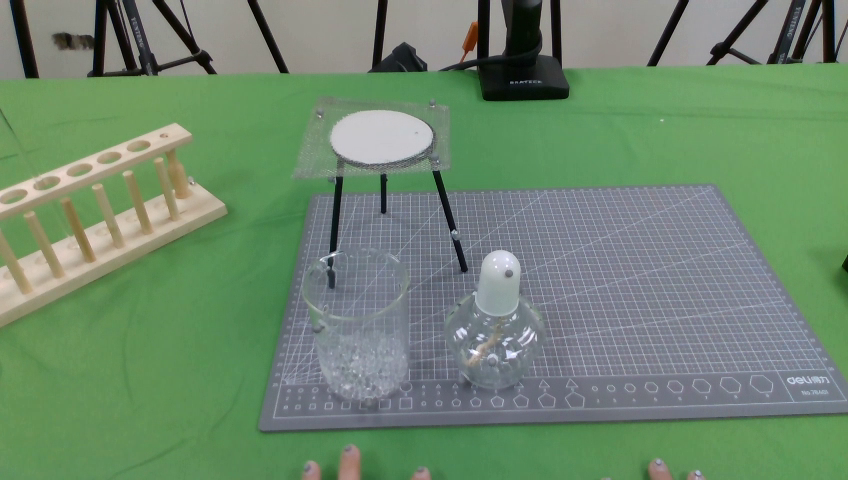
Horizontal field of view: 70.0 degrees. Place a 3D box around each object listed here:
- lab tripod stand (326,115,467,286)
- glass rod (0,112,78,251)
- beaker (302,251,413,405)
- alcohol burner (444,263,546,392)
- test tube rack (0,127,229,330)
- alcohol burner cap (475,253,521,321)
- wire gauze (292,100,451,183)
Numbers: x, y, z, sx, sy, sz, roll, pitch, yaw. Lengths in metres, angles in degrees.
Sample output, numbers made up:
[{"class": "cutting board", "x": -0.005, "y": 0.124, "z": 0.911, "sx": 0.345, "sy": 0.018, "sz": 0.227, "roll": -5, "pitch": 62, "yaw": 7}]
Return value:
[{"class": "lab tripod stand", "x": -0.029, "y": -0.035, "z": 0.547, "sx": 0.148, "sy": 0.132, "sz": 0.147, "roll": 1, "pitch": 39, "yaw": 0}, {"class": "glass rod", "x": -0.352, "y": -0.070, "z": 0.533, "sx": 0.008, "sy": 0.201, "sz": 0.008, "roll": -5, "pitch": 37, "yaw": 4}, {"class": "beaker", "x": -0.048, "y": 0.067, "z": 0.452, "sx": 0.083, "sy": 0.101, "sz": 0.074, "roll": 30, "pitch": 49, "yaw": 33}, {"class": "alcohol burner", "x": 0.053, "y": 0.058, "z": 0.450, "sx": 0.078, "sy": 0.120, "sz": 0.077, "roll": 0, "pitch": 42, "yaw": 0}, {"class": "test tube rack", "x": -0.317, "y": -0.016, "z": 0.572, "sx": 0.066, "sy": 0.086, "sz": 0.242, "roll": 32, "pitch": 49, "yaw": 33}, {"class": "alcohol burner cap", "x": 0.054, "y": 0.030, "z": 0.427, "sx": 0.034, "sy": 0.048, "sz": 0.033, "roll": 2, "pitch": 41, "yaw": -1}, {"class": "wire gauze", "x": -0.039, "y": -0.085, "z": 0.503, "sx": 0.121, "sy": 0.011, "sz": 0.124, "roll": 1, "pitch": 40, "yaw": 1}]
